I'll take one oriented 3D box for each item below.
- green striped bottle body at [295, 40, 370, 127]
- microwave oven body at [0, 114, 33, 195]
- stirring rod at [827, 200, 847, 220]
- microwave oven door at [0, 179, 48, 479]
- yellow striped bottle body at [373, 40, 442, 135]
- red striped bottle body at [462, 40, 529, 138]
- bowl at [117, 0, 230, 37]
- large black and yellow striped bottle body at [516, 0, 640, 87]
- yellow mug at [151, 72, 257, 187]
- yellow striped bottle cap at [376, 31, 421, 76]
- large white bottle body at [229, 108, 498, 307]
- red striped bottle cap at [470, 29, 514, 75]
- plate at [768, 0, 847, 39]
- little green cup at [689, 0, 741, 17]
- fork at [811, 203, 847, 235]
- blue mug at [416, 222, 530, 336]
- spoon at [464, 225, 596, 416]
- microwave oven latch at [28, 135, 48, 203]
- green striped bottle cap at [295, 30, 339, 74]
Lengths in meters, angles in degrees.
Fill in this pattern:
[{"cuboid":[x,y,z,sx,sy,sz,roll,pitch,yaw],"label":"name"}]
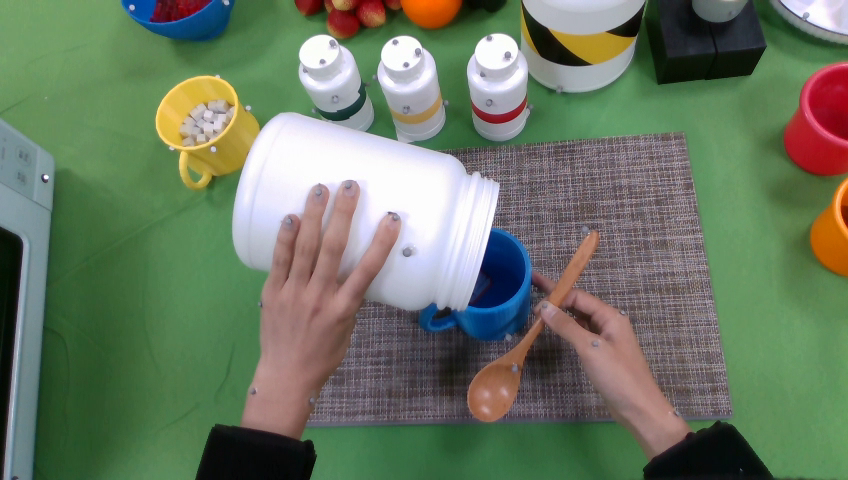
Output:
[{"cuboid":[-0.103,-0.177,0.680,0.063,0.120,0.062,-3,69,7],"label":"green striped bottle body"},{"cuboid":[-0.599,0.075,0.579,0.326,0.262,0.438,-12,69,3],"label":"microwave oven body"},{"cuboid":[0.403,0.000,0.530,0.014,0.006,0.175,-1,26,5],"label":"stirring rod"},{"cuboid":[-0.450,0.082,0.549,0.039,0.246,0.353,-12,68,4],"label":"microwave oven door"},{"cuboid":[-0.018,-0.172,0.666,0.063,0.121,0.062,-3,68,8],"label":"yellow striped bottle body"},{"cuboid":[0.077,-0.167,0.651,0.063,0.121,0.062,-6,65,13],"label":"red striped bottle body"},{"cuboid":[-0.309,-0.320,0.787,0.151,0.077,0.150,-3,69,7],"label":"bowl"},{"cuboid":[0.162,-0.265,0.639,0.130,0.185,0.130,-3,69,8],"label":"large black and yellow striped bottle body"},{"cuboid":[-0.261,-0.125,0.713,0.100,0.064,0.130,6,71,11],"label":"yellow mug"},{"cuboid":[-0.026,-0.190,0.618,0.044,0.019,0.044,-2,68,5],"label":"yellow striped bottle cap"},{"cuboid":[-0.043,-0.021,0.486,0.185,0.131,0.130,15,72,0],"label":"large white bottle body"},{"cuboid":[0.068,-0.187,0.602,0.044,0.018,0.044,-1,68,4],"label":"red striped bottle cap"},{"cuboid":[0.483,-0.310,0.688,0.209,0.038,0.207,-3,70,7],"label":"plate"},{"cuboid":[0.313,-0.270,0.642,0.061,0.039,0.061,-2,67,5],"label":"little green cup"},{"cuboid":[0.433,0.001,0.518,0.028,0.019,0.205,-40,25,-7],"label":"fork"},{"cuboid":[0.044,0.048,0.577,0.116,0.107,0.081,-31,67,-4],"label":"blue mug"},{"cuboid":[0.095,0.071,0.525,0.041,0.021,0.194,32,103,3],"label":"spoon"},{"cuboid":[-0.470,-0.083,0.723,0.030,0.030,0.078,-10,69,4],"label":"microwave oven latch"},{"cuboid":[-0.112,-0.196,0.632,0.044,0.020,0.044,-2,69,6],"label":"green striped bottle cap"}]
